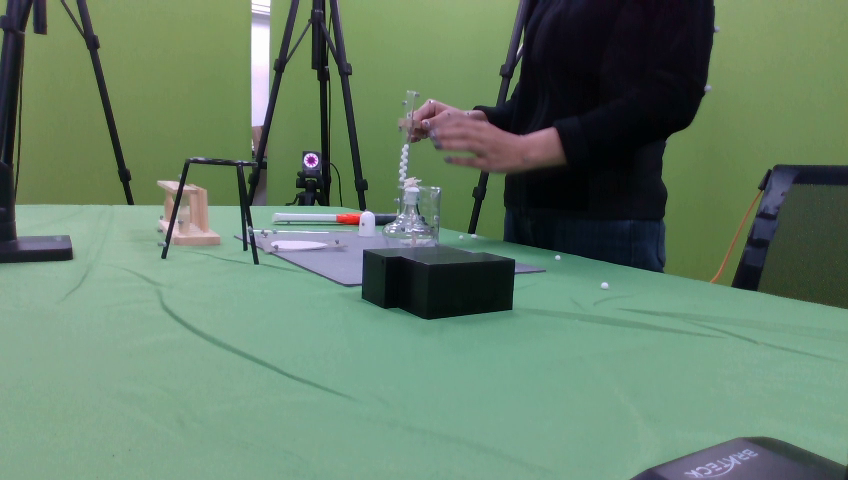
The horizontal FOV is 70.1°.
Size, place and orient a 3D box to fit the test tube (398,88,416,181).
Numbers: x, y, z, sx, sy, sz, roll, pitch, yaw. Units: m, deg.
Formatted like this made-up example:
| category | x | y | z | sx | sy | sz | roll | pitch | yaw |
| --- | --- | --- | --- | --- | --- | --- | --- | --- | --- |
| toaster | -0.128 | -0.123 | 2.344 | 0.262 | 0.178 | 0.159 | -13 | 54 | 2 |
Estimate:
| category | x | y | z | sx | sy | sz | roll | pitch | yaw |
| --- | --- | --- | --- | --- | --- | --- | --- | --- | --- |
| test tube | -0.028 | -0.172 | 0.991 | 0.017 | 0.150 | 0.017 | 6 | 8 | 0 |

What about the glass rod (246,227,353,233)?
| category | x | y | z | sx | sy | sz | roll | pitch | yaw |
| --- | --- | --- | --- | --- | --- | --- | --- | --- | --- |
| glass rod | -0.224 | -0.017 | 1.109 | 0.201 | 0.008 | 0.008 | 1 | 7 | -27 |

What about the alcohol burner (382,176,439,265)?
| category | x | y | z | sx | sy | sz | roll | pitch | yaw |
| --- | --- | --- | --- | --- | --- | --- | --- | --- | --- |
| alcohol burner | -0.018 | -0.027 | 0.818 | 0.078 | 0.119 | 0.078 | 3 | 10 | 0 |

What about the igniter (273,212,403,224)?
| category | x | y | z | sx | sy | sz | roll | pitch | yaw |
| --- | --- | --- | --- | --- | --- | --- | --- | --- | --- |
| igniter | -0.179 | -0.048 | 1.290 | 0.278 | 0.025 | 0.057 | -1 | -2 | -24 |

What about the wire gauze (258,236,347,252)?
| category | x | y | z | sx | sy | sz | roll | pitch | yaw |
| --- | --- | --- | --- | --- | --- | --- | --- | --- | --- |
| wire gauze | -0.189 | 0.005 | 0.931 | 0.122 | 0.011 | 0.124 | 1 | 7 | -21 |

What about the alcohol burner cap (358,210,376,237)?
| category | x | y | z | sx | sy | sz | roll | pitch | yaw |
| --- | --- | --- | --- | --- | --- | --- | --- | --- | --- |
| alcohol burner cap | -0.104 | -0.030 | 1.098 | 0.034 | 0.048 | 0.034 | 2 | 7 | 0 |

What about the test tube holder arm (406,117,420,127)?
| category | x | y | z | sx | sy | sz | roll | pitch | yaw |
| --- | --- | --- | --- | --- | --- | --- | --- | --- | --- |
| test tube holder arm | -0.017 | -0.196 | 1.010 | 0.010 | 0.015 | 0.088 | 10 | 11 | 5 |

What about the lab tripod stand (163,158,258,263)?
| category | x | y | z | sx | sy | sz | roll | pitch | yaw |
| --- | --- | --- | --- | --- | --- | --- | --- | --- | --- |
| lab tripod stand | -0.265 | -0.041 | 0.802 | 0.148 | 0.131 | 0.148 | 4 | 7 | 0 |

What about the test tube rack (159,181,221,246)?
| category | x | y | z | sx | sy | sz | roll | pitch | yaw |
| --- | --- | --- | --- | --- | --- | --- | --- | --- | --- |
| test tube rack | -0.395 | -0.050 | 1.010 | 0.067 | 0.085 | 0.241 | -2 | 8 | -28 |

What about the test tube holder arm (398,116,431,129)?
| category | x | y | z | sx | sy | sz | roll | pitch | yaw |
| --- | --- | --- | --- | --- | --- | --- | --- | --- | --- |
| test tube holder arm | -0.014 | -0.204 | 1.054 | 0.013 | 0.015 | 0.179 | 12 | 11 | 12 |

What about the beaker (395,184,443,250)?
| category | x | y | z | sx | sy | sz | roll | pitch | yaw |
| --- | --- | --- | --- | --- | --- | --- | --- | --- | --- |
| beaker | -0.007 | -0.037 | 0.965 | 0.074 | 0.100 | 0.083 | -4 | 11 | -39 |
